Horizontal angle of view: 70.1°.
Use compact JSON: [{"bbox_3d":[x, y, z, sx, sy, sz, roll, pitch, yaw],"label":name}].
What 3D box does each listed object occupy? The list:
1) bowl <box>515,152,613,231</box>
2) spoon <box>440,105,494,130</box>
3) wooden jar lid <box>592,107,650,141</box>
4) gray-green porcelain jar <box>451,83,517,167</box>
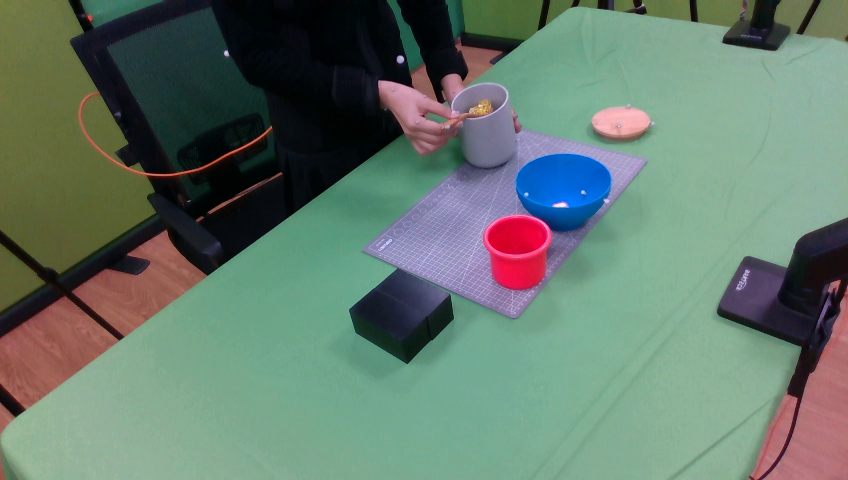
[{"bbox_3d":[0.224,-0.068,0.972,0.151,0.077,0.150,-5,40,5],"label":"bowl"},{"bbox_3d":[0.072,-0.212,1.042,0.041,0.021,0.194,8,20,27],"label":"spoon"},{"bbox_3d":[0.382,-0.225,1.178,0.108,0.021,0.108,-5,40,4],"label":"wooden jar lid"},{"bbox_3d":[0.114,-0.206,1.112,0.105,0.127,0.105,-10,47,11],"label":"gray-green porcelain jar"}]
